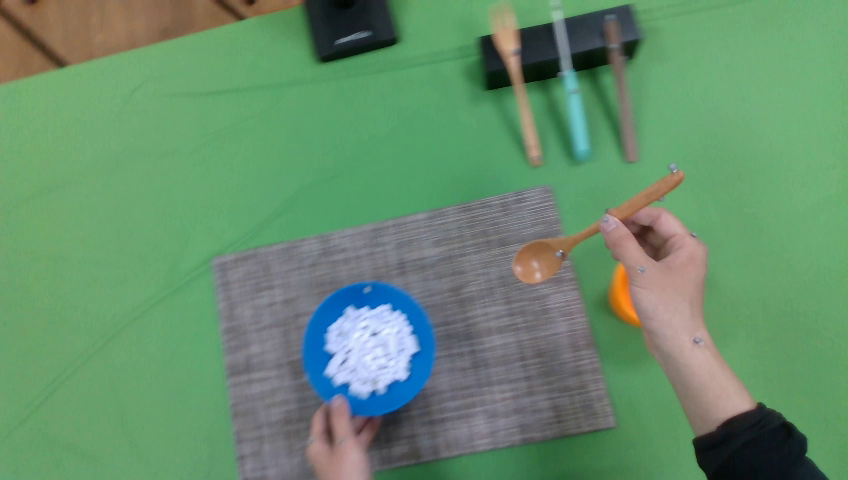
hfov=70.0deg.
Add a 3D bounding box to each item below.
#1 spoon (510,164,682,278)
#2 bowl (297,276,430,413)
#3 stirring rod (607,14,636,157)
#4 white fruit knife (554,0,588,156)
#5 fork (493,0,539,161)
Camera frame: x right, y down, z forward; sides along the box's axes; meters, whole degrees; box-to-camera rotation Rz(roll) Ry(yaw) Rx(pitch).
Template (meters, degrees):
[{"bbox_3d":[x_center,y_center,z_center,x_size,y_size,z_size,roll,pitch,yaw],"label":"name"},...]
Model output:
[{"bbox_3d":[0.149,-0.013,0.548,0.021,0.194,0.041,-32,87,-43],"label":"spoon"},{"bbox_3d":[-0.064,0.123,0.707,0.151,0.077,0.150,-1,77,6],"label":"bowl"},{"bbox_3d":[0.248,-0.192,0.758,0.014,0.006,0.176,-10,97,1],"label":"stirring rod"},{"bbox_3d":[0.180,-0.209,0.758,0.016,0.027,0.207,-11,93,0],"label":"white fruit knife"},{"bbox_3d":[0.119,-0.201,0.763,0.028,0.018,0.207,-14,96,0],"label":"fork"}]
